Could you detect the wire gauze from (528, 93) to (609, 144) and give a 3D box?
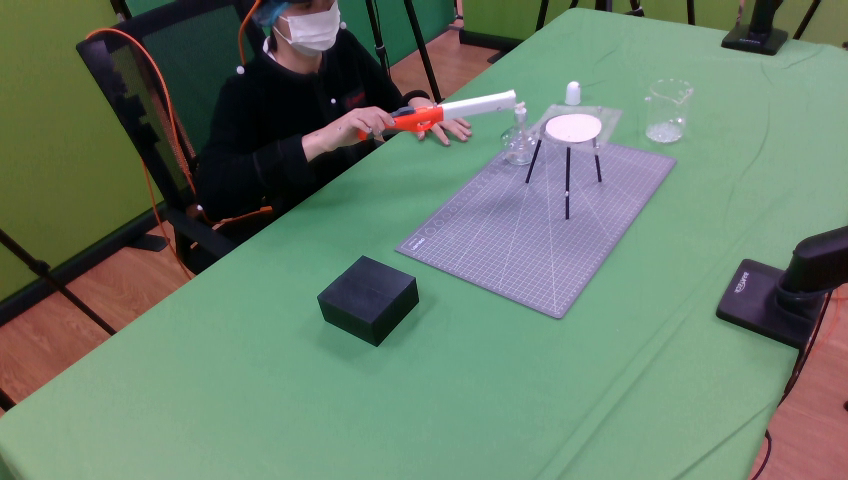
[{"bbox_3d":[0.225,-0.188,0.943,0.121,0.011,0.124,6,48,9],"label":"wire gauze"}]

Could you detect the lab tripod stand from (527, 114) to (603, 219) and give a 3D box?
[{"bbox_3d":[0.234,-0.129,1.002,0.148,0.132,0.147,-6,40,6],"label":"lab tripod stand"}]

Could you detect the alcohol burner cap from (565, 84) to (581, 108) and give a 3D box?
[{"bbox_3d":[0.315,-0.307,1.278,0.034,0.048,0.033,-5,42,5],"label":"alcohol burner cap"}]

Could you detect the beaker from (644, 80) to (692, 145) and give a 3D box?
[{"bbox_3d":[0.451,-0.233,1.122,0.074,0.101,0.083,-8,40,1],"label":"beaker"}]

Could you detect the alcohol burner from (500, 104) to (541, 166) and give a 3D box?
[{"bbox_3d":[0.178,-0.196,1.106,0.078,0.119,0.077,-5,42,5],"label":"alcohol burner"}]

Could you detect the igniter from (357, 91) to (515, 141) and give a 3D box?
[{"bbox_3d":[0.020,-0.211,1.028,0.277,0.057,0.025,-13,56,-6],"label":"igniter"}]
